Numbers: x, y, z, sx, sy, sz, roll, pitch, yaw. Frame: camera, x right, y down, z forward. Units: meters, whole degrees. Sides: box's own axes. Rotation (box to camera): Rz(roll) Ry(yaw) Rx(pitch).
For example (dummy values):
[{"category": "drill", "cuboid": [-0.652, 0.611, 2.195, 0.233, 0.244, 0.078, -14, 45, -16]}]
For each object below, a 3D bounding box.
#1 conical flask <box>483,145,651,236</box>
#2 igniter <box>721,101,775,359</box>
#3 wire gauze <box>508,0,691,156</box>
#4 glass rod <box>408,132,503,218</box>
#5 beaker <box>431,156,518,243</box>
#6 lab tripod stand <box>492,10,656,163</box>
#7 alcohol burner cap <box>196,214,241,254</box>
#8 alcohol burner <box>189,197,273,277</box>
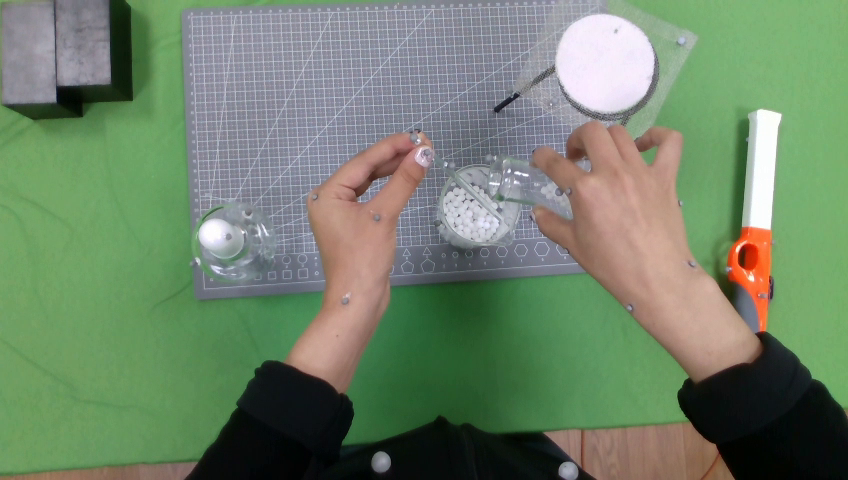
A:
[{"category": "conical flask", "cuboid": [0.110, -0.046, 0.483, 0.122, 0.075, 0.075, 7, 86, -15]}, {"category": "igniter", "cuboid": [0.347, -0.011, 0.648, 0.057, 0.025, 0.276, 7, 87, -14]}, {"category": "wire gauze", "cuboid": [0.150, -0.154, 0.518, 0.125, 0.011, 0.121, 28, 87, -2]}, {"category": "glass rod", "cuboid": [0.033, -0.048, 0.512, 0.008, 0.201, 0.008, -7, 72, 24]}, {"category": "beaker", "cuboid": [0.046, -0.033, 0.588, 0.074, 0.100, 0.084, -40, 91, -5]}, {"category": "lab tripod stand", "cuboid": [0.148, -0.148, 0.584, 0.148, 0.131, 0.148, 0, 88, -3]}, {"category": "alcohol burner cap", "cuboid": [-0.180, -0.008, 0.526, 0.034, 0.048, 0.033, 1, 80, -6]}, {"category": "alcohol burner", "cuboid": [-0.183, -0.004, 0.561, 0.078, 0.119, 0.078, 0, 88, -3]}]
